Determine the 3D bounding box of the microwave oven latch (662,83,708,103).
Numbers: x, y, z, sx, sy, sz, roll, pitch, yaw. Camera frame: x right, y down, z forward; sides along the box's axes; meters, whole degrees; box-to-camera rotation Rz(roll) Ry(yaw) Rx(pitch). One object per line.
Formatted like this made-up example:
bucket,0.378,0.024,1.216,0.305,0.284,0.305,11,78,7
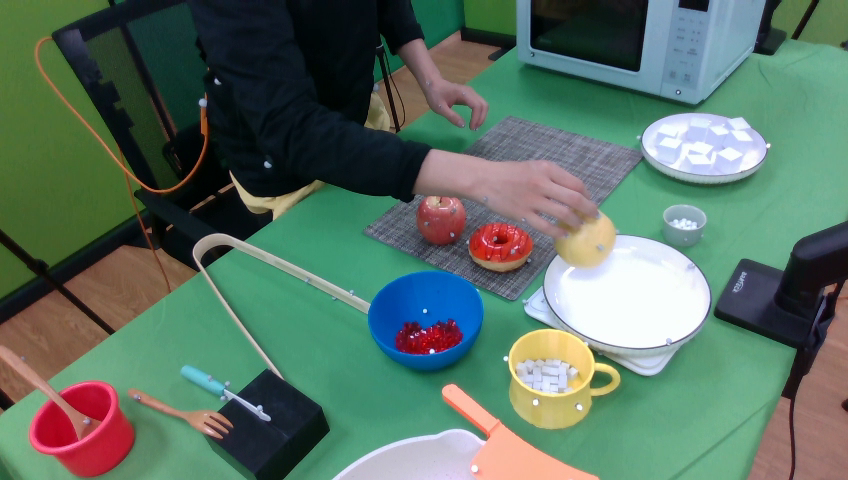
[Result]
microwave oven latch,0.517,-0.296,1.204,0.078,0.029,0.030,28,52,35

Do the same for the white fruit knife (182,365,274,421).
white fruit knife,-0.246,0.188,0.747,0.205,0.027,0.016,9,41,41

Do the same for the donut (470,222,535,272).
donut,0.119,0.009,0.923,0.099,0.048,0.098,-3,38,3

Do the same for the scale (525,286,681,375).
scale,0.254,0.091,0.821,0.199,0.032,0.149,27,51,35

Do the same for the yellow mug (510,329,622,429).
yellow mug,0.168,0.164,0.721,0.130,0.064,0.099,0,40,8

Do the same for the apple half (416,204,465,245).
apple half,0.027,-0.017,0.943,0.081,0.081,0.032,-4,37,4

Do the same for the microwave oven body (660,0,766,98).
microwave oven body,0.472,-0.513,1.317,0.438,0.261,0.327,26,51,34

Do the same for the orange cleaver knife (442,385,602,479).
orange cleaver knife,0.085,0.219,0.612,0.209,0.012,0.077,28,49,35

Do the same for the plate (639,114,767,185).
plate,0.489,-0.157,1.074,0.207,0.039,0.206,-4,40,4

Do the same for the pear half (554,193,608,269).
pear half,0.197,-0.021,0.773,0.076,0.110,0.055,-31,42,-25

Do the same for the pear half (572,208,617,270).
pear half,0.219,0.002,0.755,0.071,0.088,0.031,-33,42,-25

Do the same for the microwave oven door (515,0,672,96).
microwave oven door,0.343,-0.455,1.259,0.353,0.245,0.039,26,51,33

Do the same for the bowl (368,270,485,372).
bowl,0.007,0.118,0.791,0.151,0.077,0.150,-5,40,4

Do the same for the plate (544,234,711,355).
plate,0.262,0.072,0.792,0.209,0.038,0.208,-4,41,4

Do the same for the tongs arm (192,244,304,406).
tongs arm,-0.268,0.111,0.884,0.028,0.028,0.384,-37,47,-17

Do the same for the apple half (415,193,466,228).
apple half,0.027,-0.042,0.974,0.081,0.075,0.053,-5,37,7

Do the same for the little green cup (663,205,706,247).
little green cup,0.396,-0.021,0.926,0.061,0.039,0.061,-4,40,4

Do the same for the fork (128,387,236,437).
fork,-0.305,0.207,0.744,0.206,0.019,0.028,3,40,36

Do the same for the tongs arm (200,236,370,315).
tongs arm,-0.209,0.062,0.924,0.381,0.027,0.051,23,55,32

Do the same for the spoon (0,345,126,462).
spoon,-0.434,0.191,0.720,0.194,0.021,0.042,47,53,-6

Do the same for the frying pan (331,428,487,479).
frying pan,-0.089,0.306,0.564,0.487,0.103,0.306,10,41,7
